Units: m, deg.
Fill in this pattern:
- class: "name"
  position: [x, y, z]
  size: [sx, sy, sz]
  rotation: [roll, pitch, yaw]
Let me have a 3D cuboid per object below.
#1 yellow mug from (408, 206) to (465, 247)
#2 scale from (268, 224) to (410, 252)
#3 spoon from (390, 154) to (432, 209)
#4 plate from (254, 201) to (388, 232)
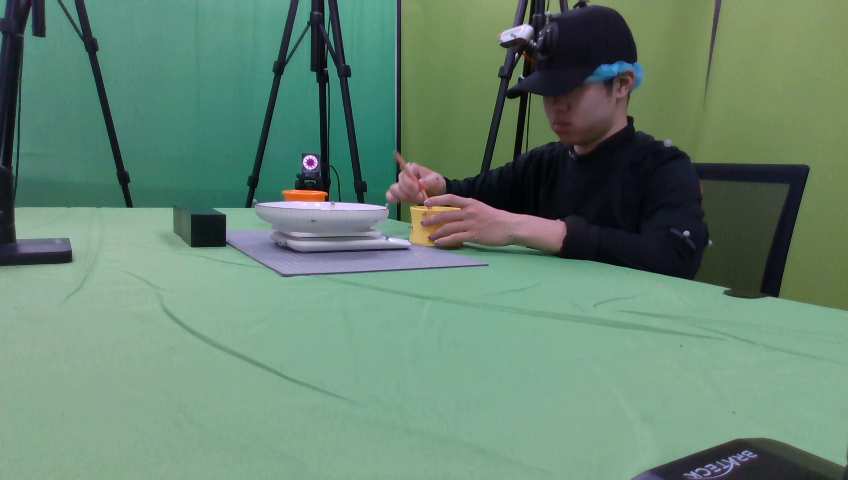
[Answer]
- class: "yellow mug"
  position: [0.028, -0.027, 1.104]
  size: [0.099, 0.064, 0.131]
  rotation: [5, 6, 20]
- class: "scale"
  position: [-0.137, -0.006, 0.979]
  size: [0.202, 0.031, 0.148]
  rotation: [-1, 8, -30]
- class: "spoon"
  position: [-0.004, -0.077, 1.094]
  size: [0.021, 0.193, 0.042]
  rotation: [-32, -3, 11]
- class: "plate"
  position: [-0.161, -0.037, 0.961]
  size: [0.209, 0.038, 0.209]
  rotation: [2, 6, 0]
